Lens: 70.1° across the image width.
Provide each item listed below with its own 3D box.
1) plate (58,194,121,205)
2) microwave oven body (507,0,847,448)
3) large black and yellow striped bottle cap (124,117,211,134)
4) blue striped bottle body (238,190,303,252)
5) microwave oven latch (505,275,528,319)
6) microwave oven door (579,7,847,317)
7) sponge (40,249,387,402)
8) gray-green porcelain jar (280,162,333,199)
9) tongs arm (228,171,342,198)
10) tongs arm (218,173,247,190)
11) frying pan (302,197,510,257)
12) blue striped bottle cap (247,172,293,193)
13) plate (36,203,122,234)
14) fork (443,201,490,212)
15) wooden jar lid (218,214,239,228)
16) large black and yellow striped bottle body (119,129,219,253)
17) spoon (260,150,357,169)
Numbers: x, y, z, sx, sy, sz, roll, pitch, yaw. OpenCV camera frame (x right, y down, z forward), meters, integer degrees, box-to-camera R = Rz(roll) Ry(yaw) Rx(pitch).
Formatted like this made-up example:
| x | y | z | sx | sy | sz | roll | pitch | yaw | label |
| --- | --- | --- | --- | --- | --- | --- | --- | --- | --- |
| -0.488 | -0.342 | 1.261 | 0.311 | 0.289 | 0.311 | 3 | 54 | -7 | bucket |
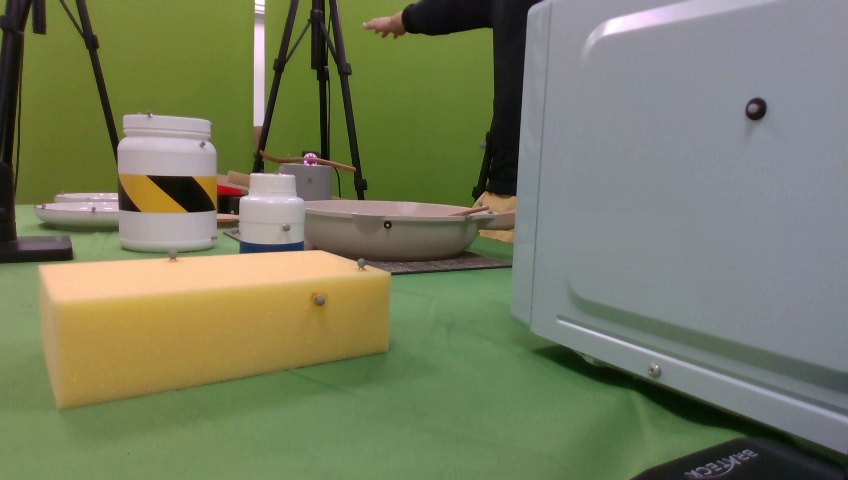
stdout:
| x | y | z | sx | sy | sz | roll | pitch | yaw | label |
| --- | --- | --- | --- | --- | --- | --- | --- | --- | --- |
| -0.671 | -0.074 | 1.310 | 0.209 | 0.038 | 0.209 | 2 | 8 | 0 | plate |
| 0.331 | -0.042 | 0.425 | 0.444 | 0.260 | 0.324 | -2 | 8 | -31 | microwave oven body |
| -0.366 | -0.163 | 0.866 | 0.115 | 0.019 | 0.115 | 3 | 7 | 0 | large black and yellow striped bottle cap |
| -0.153 | -0.007 | 0.606 | 0.063 | 0.120 | 0.063 | 2 | 8 | 0 | blue striped bottle body |
| 0.100 | 0.042 | 0.471 | 0.079 | 0.029 | 0.030 | -1 | 7 | -28 | microwave oven latch |
| 0.294 | -0.066 | 0.570 | 0.358 | 0.243 | 0.039 | -3 | 9 | -31 | microwave oven door |
| -0.142 | 0.047 | 0.420 | 0.208 | 0.061 | 0.117 | -3 | 8 | -36 | sponge |
| -0.238 | -0.092 | 1.221 | 0.106 | 0.126 | 0.106 | 2 | 7 | 0 | gray-green porcelain jar |
| -0.267 | -0.103 | 1.378 | 0.387 | 0.026 | 0.050 | 11 | -3 | -40 | tongs arm |
| -0.315 | -0.110 | 1.448 | 0.389 | 0.027 | 0.028 | 11 | -7 | -26 | tongs arm |
| 0.051 | -0.035 | 0.915 | 0.487 | 0.102 | 0.307 | -5 | 7 | 10 | frying pan |
| -0.152 | -0.057 | 0.598 | 0.044 | 0.020 | 0.044 | 3 | 7 | 0 | blue striped bottle cap |
| -0.571 | -0.040 | 1.083 | 0.208 | 0.039 | 0.207 | 2 | 8 | 0 | plate |
| -0.006 | -0.020 | 0.852 | 0.207 | 0.018 | 0.028 | -22 | -3 | 10 | fork |
| -0.404 | -0.037 | 1.169 | 0.108 | 0.020 | 0.108 | 3 | 7 | 0 | wooden jar lid |
| -0.367 | -0.080 | 0.876 | 0.131 | 0.184 | 0.130 | 2 | 7 | 0 | large black and yellow striped bottle body |
| -0.231 | -0.162 | 1.221 | 0.194 | 0.021 | 0.041 | 3 | 2 | -16 | spoon |
